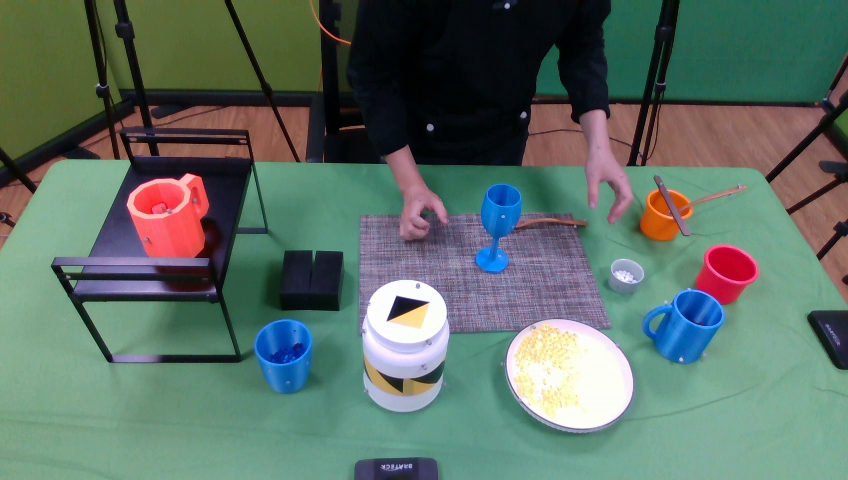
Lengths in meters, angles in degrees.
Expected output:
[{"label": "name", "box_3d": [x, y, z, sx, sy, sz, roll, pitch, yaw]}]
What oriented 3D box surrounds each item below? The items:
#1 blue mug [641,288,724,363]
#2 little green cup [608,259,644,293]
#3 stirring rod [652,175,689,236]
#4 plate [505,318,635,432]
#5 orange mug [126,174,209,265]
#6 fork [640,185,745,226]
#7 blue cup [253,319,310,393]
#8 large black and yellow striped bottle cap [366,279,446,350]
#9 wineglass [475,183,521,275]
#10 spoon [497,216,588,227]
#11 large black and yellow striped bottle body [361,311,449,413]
[{"label": "blue mug", "box_3d": [0.432, 0.144, 1.033, 0.116, 0.106, 0.082, 8, 46, 5]}, {"label": "little green cup", "box_3d": [0.379, 0.070, 1.147, 0.061, 0.039, 0.061, 3, 45, -2]}, {"label": "stirring rod", "box_3d": [0.491, -0.072, 1.211, 0.014, 0.006, 0.175, 0, 46, -6]}, {"label": "plate", "box_3d": [0.235, 0.221, 0.991, 0.209, 0.038, 0.208, 2, 45, -2]}, {"label": "orange mug", "box_3d": [-0.371, -0.039, 0.902, 0.083, 0.101, 0.126, 18, 51, 14]}, {"label": "fork", "box_3d": [0.534, -0.069, 1.215, 0.207, 0.019, 0.028, -26, 27, 33]}, {"label": "blue cup", "box_3d": [-0.217, 0.187, 0.943, 0.093, 0.101, 0.092, 3, 45, -3]}, {"label": "large black and yellow striped bottle cap", "box_3d": [-0.025, 0.104, 0.864, 0.115, 0.019, 0.114, 3, 48, -3]}, {"label": "wineglass", "box_3d": [0.134, -0.020, 1.115, 0.074, 0.173, 0.073, 2, 46, -2]}, {"label": "spoon", "box_3d": [0.245, -0.039, 1.247, 0.194, 0.022, 0.041, -1, 26, -6]}, {"label": "large black and yellow striped bottle body", "box_3d": [-0.031, 0.163, 0.924, 0.131, 0.185, 0.130, 2, 46, -2]}]
